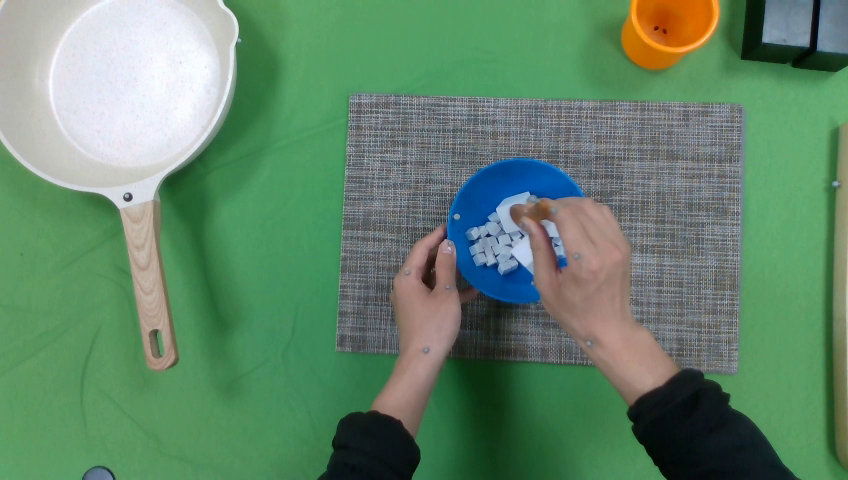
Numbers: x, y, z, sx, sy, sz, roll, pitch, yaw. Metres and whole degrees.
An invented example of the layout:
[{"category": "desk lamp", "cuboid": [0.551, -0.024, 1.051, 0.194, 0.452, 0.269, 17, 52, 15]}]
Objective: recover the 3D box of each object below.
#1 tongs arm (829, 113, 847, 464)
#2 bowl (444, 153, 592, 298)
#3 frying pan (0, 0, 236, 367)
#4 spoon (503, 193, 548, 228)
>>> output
[{"category": "tongs arm", "cuboid": [0.461, 0.054, 0.660, 0.028, 0.028, 0.387, 1, 87, 2]}, {"category": "bowl", "cuboid": [0.099, -0.013, 0.654, 0.151, 0.077, 0.151, 0, 87, 4]}, {"category": "frying pan", "cuboid": [-0.329, -0.099, 0.674, 0.307, 0.103, 0.485, -14, 78, 3]}, {"category": "spoon", "cuboid": [0.093, -0.025, 0.543, 0.041, 0.194, 0.021, 39, 94, 3]}]
